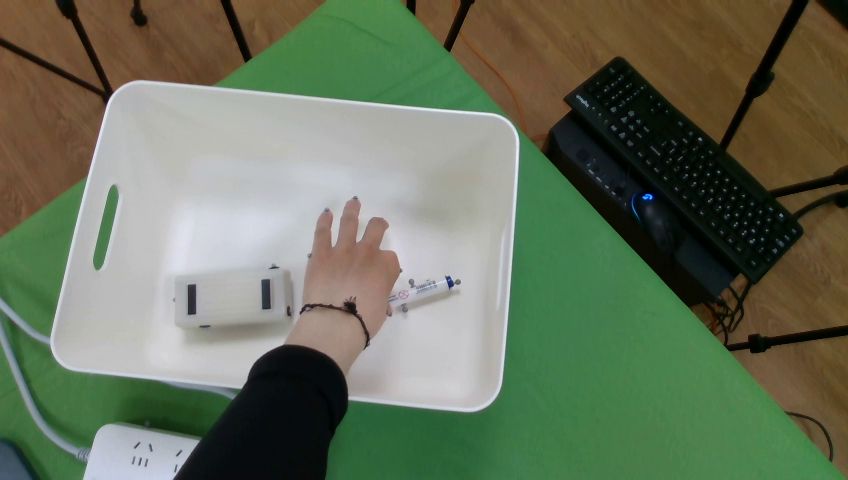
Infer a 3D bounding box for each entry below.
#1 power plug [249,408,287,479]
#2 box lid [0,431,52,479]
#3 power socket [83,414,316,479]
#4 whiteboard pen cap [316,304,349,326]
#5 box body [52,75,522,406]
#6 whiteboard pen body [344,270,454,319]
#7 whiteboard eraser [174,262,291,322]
[{"bbox_3d":[-0.140,0.201,0.573,0.035,0.053,0.072,19,73,7],"label":"power plug"},{"bbox_3d":[-0.481,0.389,0.563,0.371,0.015,0.262,-39,79,-9],"label":"box lid"},{"bbox_3d":[-0.220,0.223,0.591,0.226,0.033,0.072,10,76,3],"label":"power socket"},{"bbox_3d":[-0.093,0.076,0.624,0.033,0.018,0.018,-17,77,-4],"label":"whiteboard pen cap"},{"bbox_3d":[-0.106,0.011,0.575,0.364,0.161,0.253,6,76,1],"label":"box body"},{"bbox_3d":[-0.037,0.060,0.629,0.141,0.017,0.017,-19,77,-2],"label":"whiteboard pen body"},{"bbox_3d":[-0.194,0.053,0.618,0.113,0.042,0.055,-3,77,-3],"label":"whiteboard eraser"}]
